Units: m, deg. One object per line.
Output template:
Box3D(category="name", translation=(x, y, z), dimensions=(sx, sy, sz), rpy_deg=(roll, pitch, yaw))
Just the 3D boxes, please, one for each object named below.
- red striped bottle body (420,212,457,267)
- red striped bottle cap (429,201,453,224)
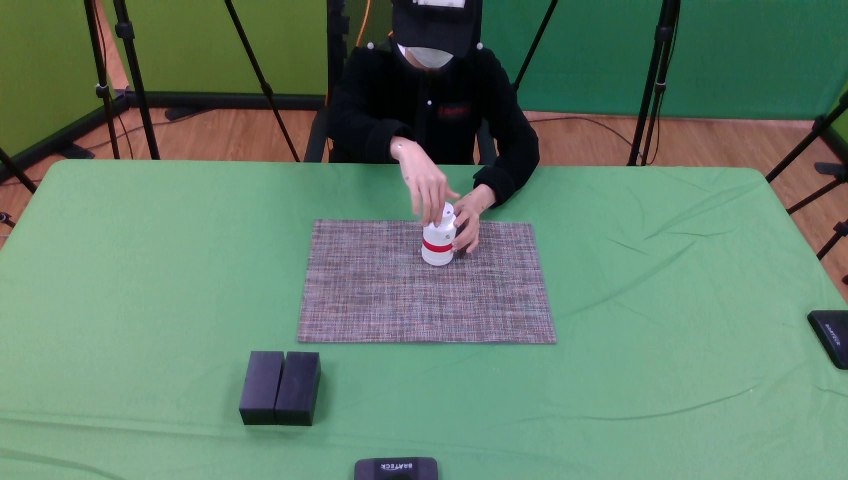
Box3D(category="red striped bottle body", translation=(0.027, -0.011, 1.139), dimensions=(0.063, 0.120, 0.062), rpy_deg=(3, 45, -2))
Box3D(category="red striped bottle cap", translation=(0.030, -0.051, 1.098), dimensions=(0.044, 0.018, 0.044), rpy_deg=(2, 47, -1))
